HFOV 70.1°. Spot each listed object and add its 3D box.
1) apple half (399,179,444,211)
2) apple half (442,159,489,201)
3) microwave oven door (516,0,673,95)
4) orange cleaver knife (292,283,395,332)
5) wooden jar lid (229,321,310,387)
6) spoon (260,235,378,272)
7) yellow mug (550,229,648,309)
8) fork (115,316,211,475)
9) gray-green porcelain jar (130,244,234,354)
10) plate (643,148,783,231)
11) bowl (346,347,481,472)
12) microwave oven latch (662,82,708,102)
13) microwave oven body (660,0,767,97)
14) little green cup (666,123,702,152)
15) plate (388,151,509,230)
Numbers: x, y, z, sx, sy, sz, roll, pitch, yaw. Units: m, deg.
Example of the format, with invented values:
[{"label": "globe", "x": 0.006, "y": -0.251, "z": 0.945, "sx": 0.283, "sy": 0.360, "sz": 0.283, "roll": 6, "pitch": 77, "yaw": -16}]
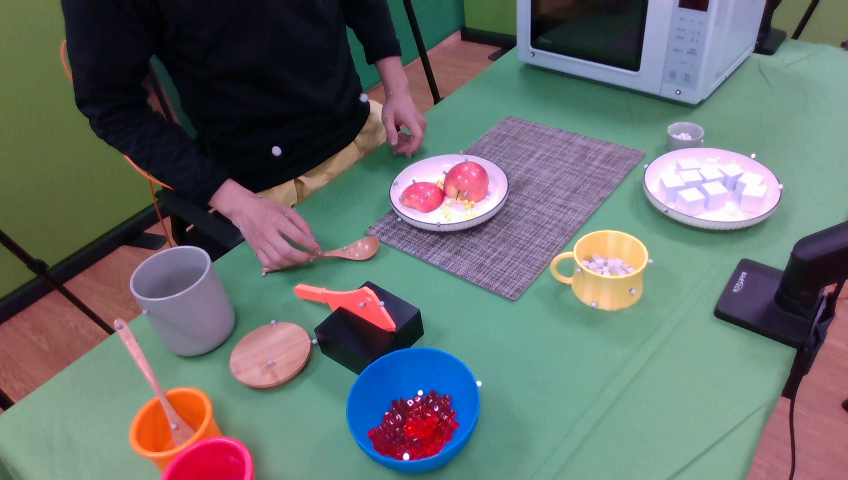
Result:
[{"label": "apple half", "x": -0.004, "y": -0.088, "z": 1.045, "sx": 0.081, "sy": 0.033, "sz": 0.081, "roll": -2, "pitch": 43, "yaw": 2}, {"label": "apple half", "x": 0.074, "y": -0.110, "z": 1.047, "sx": 0.080, "sy": 0.053, "sz": 0.075, "roll": 21, "pitch": 45, "yaw": 30}, {"label": "microwave oven door", "x": 0.344, "y": -0.458, "z": 1.256, "sx": 0.353, "sy": 0.245, "sz": 0.039, "roll": 26, "pitch": 51, "yaw": 33}, {"label": "orange cleaver knife", "x": -0.115, "y": 0.092, "z": 0.835, "sx": 0.209, "sy": 0.077, "sz": 0.012, "roll": 1, "pitch": 32, "yaw": 48}, {"label": "wooden jar lid", "x": -0.207, "y": 0.156, "z": 0.820, "sx": 0.108, "sy": 0.021, "sz": 0.108, "roll": -3, "pitch": 39, "yaw": 3}, {"label": "spoon", "x": -0.168, "y": 0.024, "z": 0.966, "sx": 0.194, "sy": 0.022, "sz": 0.041, "roll": -10, "pitch": 59, "yaw": -3}, {"label": "yellow mug", "x": 0.245, "y": 0.040, "z": 0.857, "sx": 0.130, "sy": 0.064, "sz": 0.099, "roll": 1, "pitch": 42, "yaw": 11}, {"label": "fork", "x": -0.308, "y": 0.179, "z": 0.708, "sx": 0.028, "sy": 0.018, "sz": 0.207, "roll": -30, "pitch": 89, "yaw": -23}, {"label": "gray-green porcelain jar", "x": -0.328, "y": 0.087, "z": 0.836, "sx": 0.106, "sy": 0.127, "sz": 0.105, "roll": -4, "pitch": 41, "yaw": 4}, {"label": "plate", "x": 0.464, "y": -0.079, "z": 0.986, "sx": 0.207, "sy": 0.039, "sz": 0.206, "roll": -4, "pitch": 40, "yaw": 4}, {"label": "bowl", "x": -0.008, "y": 0.205, "z": 0.691, "sx": 0.151, "sy": 0.077, "sz": 0.150, "roll": -4, "pitch": 40, "yaw": 4}, {"label": "microwave oven latch", "x": 0.517, "y": -0.298, "z": 1.203, "sx": 0.078, "sy": 0.029, "sz": 0.030, "roll": 28, "pitch": 53, "yaw": 35}, {"label": "microwave oven body", "x": 0.473, "y": -0.517, "z": 1.314, "sx": 0.438, "sy": 0.261, "sz": 0.327, "roll": 26, "pitch": 51, "yaw": 34}, {"label": "little green cup", "x": 0.472, "y": -0.183, "z": 1.102, "sx": 0.061, "sy": 0.039, "sz": 0.061, "roll": -5, "pitch": 41, "yaw": 5}, {"label": "plate", "x": 0.043, "y": -0.082, "z": 1.042, "sx": 0.209, "sy": 0.038, "sz": 0.208, "roll": -4, "pitch": 40, "yaw": 4}]
